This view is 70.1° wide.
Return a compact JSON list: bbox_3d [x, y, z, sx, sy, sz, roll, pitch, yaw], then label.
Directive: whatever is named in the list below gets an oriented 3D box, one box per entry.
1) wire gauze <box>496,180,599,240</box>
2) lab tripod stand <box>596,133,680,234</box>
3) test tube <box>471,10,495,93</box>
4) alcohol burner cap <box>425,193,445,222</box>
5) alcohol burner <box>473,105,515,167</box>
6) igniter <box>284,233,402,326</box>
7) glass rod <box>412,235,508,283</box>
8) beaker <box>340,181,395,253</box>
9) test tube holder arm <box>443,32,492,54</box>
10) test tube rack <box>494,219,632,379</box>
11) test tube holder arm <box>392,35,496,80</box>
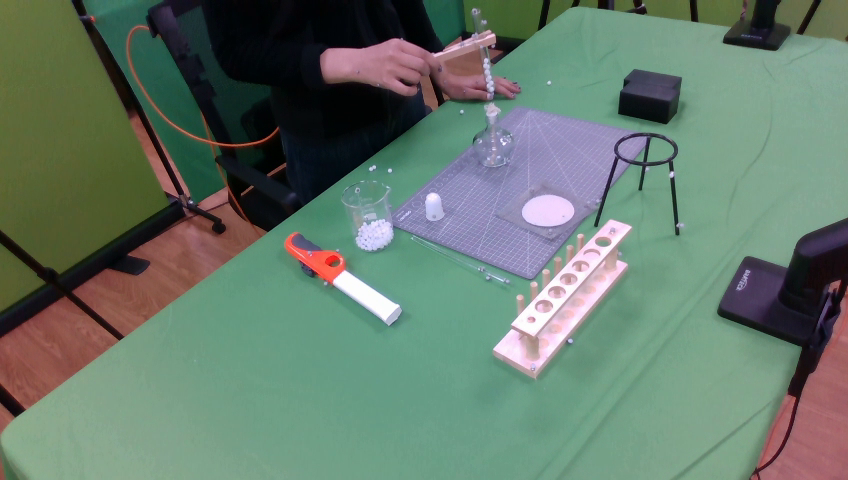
[{"bbox_3d":[0.206,-0.050,1.012,0.125,0.011,0.120,-34,45,-26],"label":"wire gauze"},{"bbox_3d":[0.338,-0.090,0.940,0.148,0.132,0.147,-7,39,6],"label":"lab tripod stand"},{"bbox_3d":[0.100,-0.311,1.009,0.017,0.151,0.017,-10,45,11],"label":"test tube"},{"bbox_3d":[0.017,-0.058,1.029,0.034,0.048,0.033,-6,40,5],"label":"alcohol burner cap"},{"bbox_3d":[0.128,-0.196,1.116,0.078,0.119,0.077,-4,40,4],"label":"alcohol burner"},{"bbox_3d":[-0.136,0.054,0.942,0.274,0.025,0.057,30,63,37],"label":"igniter"},{"bbox_3d":[0.051,0.028,0.951,0.198,0.008,0.008,25,52,37],"label":"glass rod"},{"bbox_3d":[-0.086,-0.037,0.985,0.084,0.101,0.073,-18,41,-11],"label":"beaker"},{"bbox_3d":[0.072,-0.318,0.994,0.088,0.015,0.010,-27,41,-11],"label":"test tube holder arm"},{"bbox_3d":[0.191,0.068,0.818,0.066,0.085,0.243,25,51,35],"label":"test tube rack"},{"bbox_3d":[0.033,-0.298,0.984,0.179,0.015,0.013,-22,40,-5],"label":"test tube holder arm"}]
